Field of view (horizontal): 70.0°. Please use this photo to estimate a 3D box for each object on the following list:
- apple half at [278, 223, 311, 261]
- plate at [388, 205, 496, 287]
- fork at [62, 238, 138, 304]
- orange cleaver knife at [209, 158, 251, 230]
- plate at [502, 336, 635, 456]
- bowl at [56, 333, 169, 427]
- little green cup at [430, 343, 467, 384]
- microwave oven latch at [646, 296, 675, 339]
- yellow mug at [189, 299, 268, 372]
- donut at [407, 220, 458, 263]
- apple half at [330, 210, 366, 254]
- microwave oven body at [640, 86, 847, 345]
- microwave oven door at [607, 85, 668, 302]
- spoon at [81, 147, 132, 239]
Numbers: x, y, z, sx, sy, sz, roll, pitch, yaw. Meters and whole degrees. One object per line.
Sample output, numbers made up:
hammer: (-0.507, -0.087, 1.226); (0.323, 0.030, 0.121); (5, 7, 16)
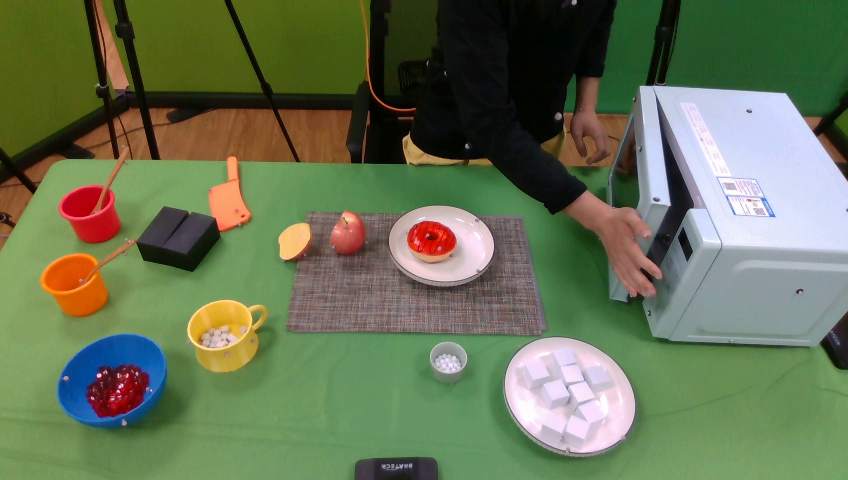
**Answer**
apple half: (-0.241, 0.007, 1.157); (0.081, 0.033, 0.081); (-17, 54, 24)
plate: (0.033, 0.014, 1.171); (0.209, 0.038, 0.208); (2, 46, -2)
fork: (-0.547, 0.053, 1.019); (0.207, 0.019, 0.028); (-36, 41, 23)
orange cleaver knife: (-0.409, -0.099, 1.266); (0.077, 0.012, 0.210); (-14, 49, -10)
plate: (0.225, 0.248, 0.964); (0.208, 0.039, 0.206); (2, 46, -2)
bowl: (-0.456, 0.223, 0.911); (0.151, 0.077, 0.150); (3, 45, -2)
little green cup: (0.039, 0.203, 0.993); (0.061, 0.039, 0.061); (2, 46, -2)
microwave oven latch: (0.412, 0.134, 1.061); (0.030, 0.029, 0.078); (4, 45, 1)
yellow mug: (-0.316, 0.148, 1.002); (0.131, 0.064, 0.099); (-32, 56, -31)
donut: (0.016, 0.002, 1.166); (0.099, 0.048, 0.098); (3, 44, -2)
apple half: (-0.139, -0.009, 1.157); (0.053, 0.075, 0.080); (17, 43, 8)
microwave oven body: (0.567, -0.053, 1.118); (0.326, 0.261, 0.439); (2, 45, -1)
microwave oven door: (0.396, -0.097, 1.142); (0.039, 0.245, 0.354); (9, 46, 6)
spoon: (-0.603, -0.089, 1.156); (0.041, 0.022, 0.193); (27, 95, 20)
